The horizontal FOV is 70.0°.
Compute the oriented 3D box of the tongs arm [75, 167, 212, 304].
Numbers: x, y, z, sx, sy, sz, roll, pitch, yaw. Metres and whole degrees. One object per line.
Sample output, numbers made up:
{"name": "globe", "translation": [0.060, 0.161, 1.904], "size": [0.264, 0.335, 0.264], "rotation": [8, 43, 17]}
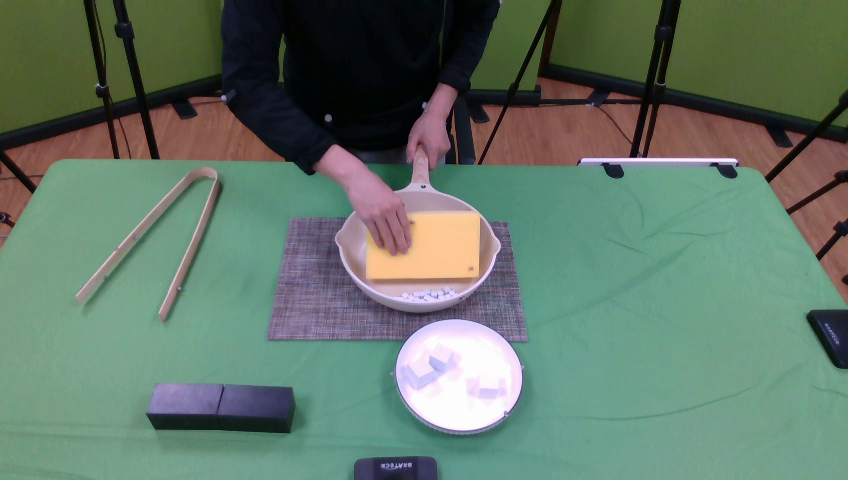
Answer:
{"name": "tongs arm", "translation": [-0.525, -0.021, 1.167], "size": [0.051, 0.026, 0.383], "rotation": [14, 46, 7]}

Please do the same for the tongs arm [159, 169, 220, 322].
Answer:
{"name": "tongs arm", "translation": [-0.446, -0.005, 1.164], "size": [0.028, 0.028, 0.385], "rotation": [2, 46, 0]}

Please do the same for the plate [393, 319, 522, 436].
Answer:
{"name": "plate", "translation": [0.053, 0.222, 0.979], "size": [0.208, 0.039, 0.206], "rotation": [3, 46, -2]}

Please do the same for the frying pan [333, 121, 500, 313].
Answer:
{"name": "frying pan", "translation": [-0.010, -0.063, 1.195], "size": [0.307, 0.103, 0.485], "rotation": [4, 55, -2]}

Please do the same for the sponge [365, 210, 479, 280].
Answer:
{"name": "sponge", "translation": [-0.005, 0.008, 1.108], "size": [0.207, 0.118, 0.061], "rotation": [-2, 10, -6]}
